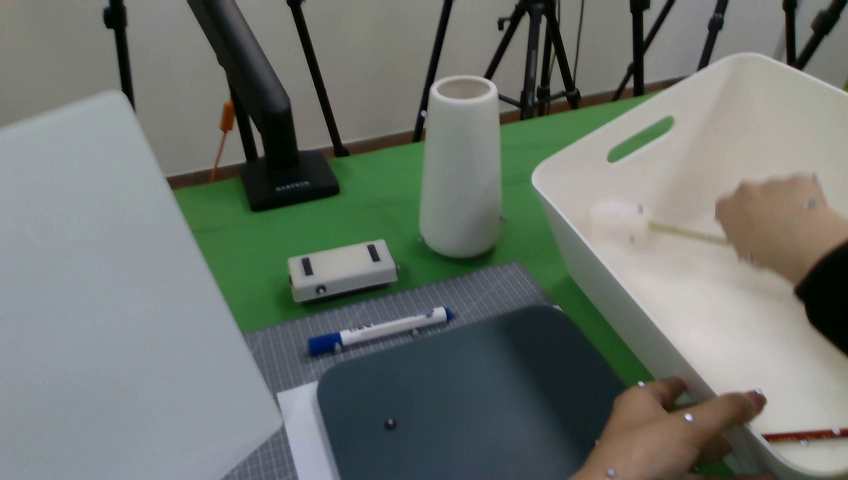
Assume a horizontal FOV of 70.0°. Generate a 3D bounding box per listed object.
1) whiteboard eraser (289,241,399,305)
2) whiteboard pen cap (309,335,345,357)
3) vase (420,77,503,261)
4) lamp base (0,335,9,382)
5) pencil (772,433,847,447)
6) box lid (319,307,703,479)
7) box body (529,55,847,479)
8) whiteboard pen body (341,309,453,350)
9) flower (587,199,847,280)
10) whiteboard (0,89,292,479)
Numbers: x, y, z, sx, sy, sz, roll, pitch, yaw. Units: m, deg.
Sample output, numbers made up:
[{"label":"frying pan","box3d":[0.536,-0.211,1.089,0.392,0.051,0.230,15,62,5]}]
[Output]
[{"label":"whiteboard eraser","box3d":[-0.088,0.038,0.662,0.113,0.042,0.055,-13,37,-14]},{"label":"whiteboard pen cap","box3d":[-0.094,0.104,0.591,0.033,0.018,0.018,-9,38,-15]},{"label":"vase","box3d":[0.044,-0.074,0.677,0.098,0.202,0.097,0,37,0]},{"label":"lamp base","box3d":[-0.486,0.071,0.512,0.178,0.182,0.160,10,38,18]},{"label":"pencil","box3d":[0.335,0.154,0.471,0.193,0.012,0.012,-10,34,19]},{"label":"box lid","box3d":[0.083,0.201,0.465,0.264,0.015,0.367,-14,39,-16]},{"label":"box body","box3d":[0.293,0.024,0.514,0.254,0.162,0.359,-31,41,0]},{"label":"whiteboard pen body","box3d":[-0.038,0.092,0.606,0.141,0.017,0.017,-12,38,-14]},{"label":"flower","box3d":[0.305,0.016,0.515,0.358,0.038,0.044,19,1,40]},{"label":"whiteboard","box3d":[-0.272,0.077,0.442,0.143,0.308,0.217,7,34,44]}]
